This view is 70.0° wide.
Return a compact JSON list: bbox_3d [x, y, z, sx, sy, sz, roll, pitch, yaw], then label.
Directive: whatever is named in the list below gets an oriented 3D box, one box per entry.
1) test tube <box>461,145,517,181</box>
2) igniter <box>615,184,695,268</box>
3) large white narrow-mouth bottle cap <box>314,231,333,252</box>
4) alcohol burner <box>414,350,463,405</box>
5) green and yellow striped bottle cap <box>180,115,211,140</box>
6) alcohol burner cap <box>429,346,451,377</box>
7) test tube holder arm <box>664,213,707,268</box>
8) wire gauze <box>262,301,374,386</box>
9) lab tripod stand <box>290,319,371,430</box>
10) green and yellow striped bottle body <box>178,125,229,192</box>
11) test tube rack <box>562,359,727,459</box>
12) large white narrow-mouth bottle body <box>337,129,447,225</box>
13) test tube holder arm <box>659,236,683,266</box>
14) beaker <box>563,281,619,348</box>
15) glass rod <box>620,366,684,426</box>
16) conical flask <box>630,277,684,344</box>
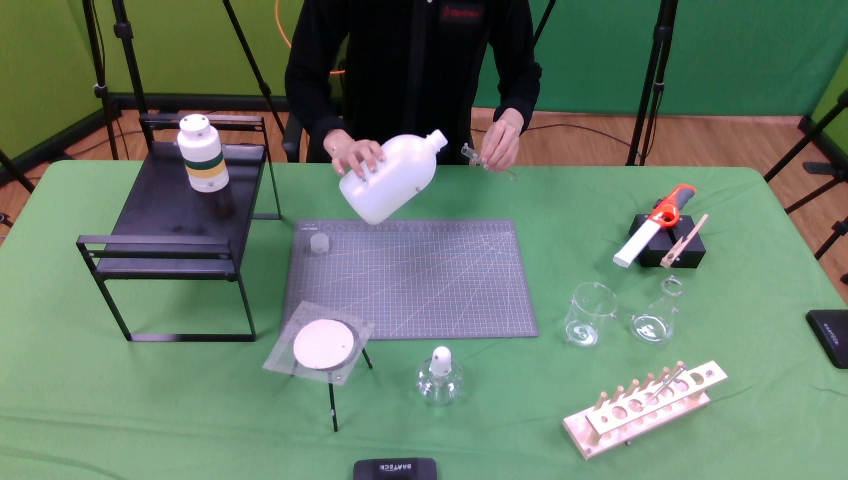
[{"bbox_3d":[0.121,-0.138,1.098,0.151,0.017,0.017,21,31,-42],"label":"test tube"},{"bbox_3d":[0.459,-0.035,1.197,0.057,0.025,0.276,33,55,27],"label":"igniter"},{"bbox_3d":[-0.195,0.003,1.178,0.038,0.024,0.037,2,45,-2],"label":"large white narrow-mouth bottle cap"},{"bbox_3d":[0.023,0.205,0.939,0.078,0.120,0.077,1,48,-1],"label":"alcohol burner"},{"bbox_3d":[-0.358,-0.177,0.951,0.045,0.020,0.045,2,45,-2],"label":"green and yellow striped bottle cap"},{"bbox_3d":[0.026,0.180,0.912,0.034,0.048,0.033,1,47,-1],"label":"alcohol burner cap"},{"bbox_3d":[0.507,-0.001,1.171,0.013,0.015,0.178,34,54,26],"label":"test tube holder arm"},{"bbox_3d":[-0.150,0.148,0.873,0.121,0.011,0.124,14,46,12],"label":"wire gauze"},{"bbox_3d":[-0.146,0.193,0.923,0.148,0.132,0.147,1,47,-1],"label":"lab tripod stand"},{"bbox_3d":[-0.361,-0.142,0.989,0.063,0.120,0.063,2,46,-2],"label":"green and yellow striped bottle body"},{"bbox_3d":[0.341,0.247,0.940,0.243,0.085,0.066,-16,49,-18],"label":"test tube rack"},{"bbox_3d":[-0.045,-0.119,1.027,0.194,0.102,0.101,-38,54,3],"label":"large white narrow-mouth bottle body"},{"bbox_3d":[0.472,0.020,1.149,0.010,0.015,0.088,35,54,27],"label":"test tube holder arm"},{"bbox_3d":[0.283,0.129,1.041,0.074,0.101,0.083,11,46,7],"label":"beaker"},{"bbox_3d":[0.323,0.227,0.866,0.008,0.200,0.008,5,51,-7],"label":"glass rod"},{"bbox_3d":[0.408,0.117,1.045,0.075,0.122,0.075,2,46,-2],"label":"conical flask"}]
